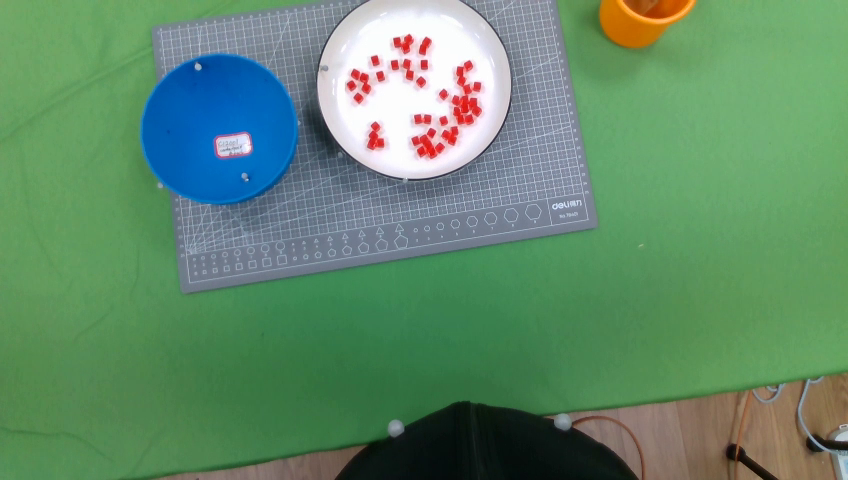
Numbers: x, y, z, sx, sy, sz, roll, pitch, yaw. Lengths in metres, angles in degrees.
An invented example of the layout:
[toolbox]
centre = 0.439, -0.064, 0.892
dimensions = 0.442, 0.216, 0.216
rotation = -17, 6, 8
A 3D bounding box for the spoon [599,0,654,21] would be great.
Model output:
[spoon]
centre = 0.270, -0.270, 0.614
dimensions = 0.022, 0.193, 0.041
rotation = 2, 82, -45

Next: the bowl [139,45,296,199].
[bowl]
centre = -0.199, -0.109, 0.620
dimensions = 0.151, 0.077, 0.151
rotation = 0, 84, -1

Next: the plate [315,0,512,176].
[plate]
centre = -0.011, -0.169, 0.650
dimensions = 0.209, 0.038, 0.208
rotation = 0, 84, 0
